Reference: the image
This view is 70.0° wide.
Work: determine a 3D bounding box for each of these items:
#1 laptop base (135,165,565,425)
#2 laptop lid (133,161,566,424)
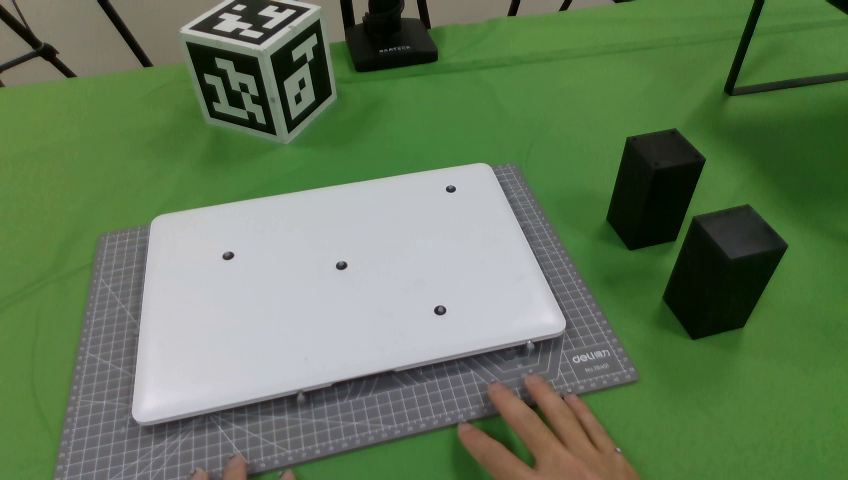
[{"bbox_3d":[-0.075,0.034,0.566,0.355,0.023,0.233,-11,48,-9],"label":"laptop base"},{"bbox_3d":[-0.075,0.026,0.555,0.357,0.013,0.239,-9,47,-7],"label":"laptop lid"}]
